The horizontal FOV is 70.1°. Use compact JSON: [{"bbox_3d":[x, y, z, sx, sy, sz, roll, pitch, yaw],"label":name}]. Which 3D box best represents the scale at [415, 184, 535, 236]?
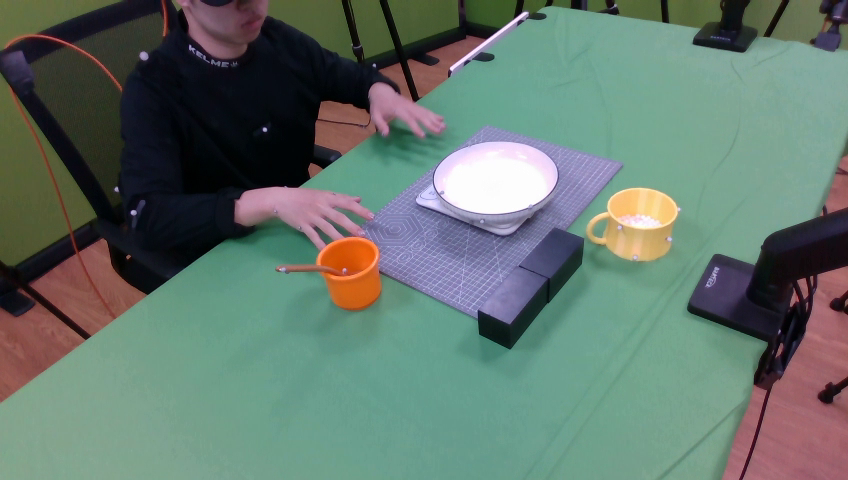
[{"bbox_3d":[0.099,-0.080,1.035,0.199,0.032,0.149,23,48,31],"label":"scale"}]

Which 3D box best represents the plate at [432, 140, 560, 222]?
[{"bbox_3d":[0.118,-0.094,0.999,0.209,0.038,0.208,-4,41,4],"label":"plate"}]

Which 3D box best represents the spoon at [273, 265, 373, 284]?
[{"bbox_3d":[-0.136,0.045,0.839,0.041,0.195,0.021,18,91,33],"label":"spoon"}]

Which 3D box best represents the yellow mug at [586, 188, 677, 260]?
[{"bbox_3d":[0.311,-0.022,0.916,0.131,0.064,0.099,-8,40,0],"label":"yellow mug"}]
